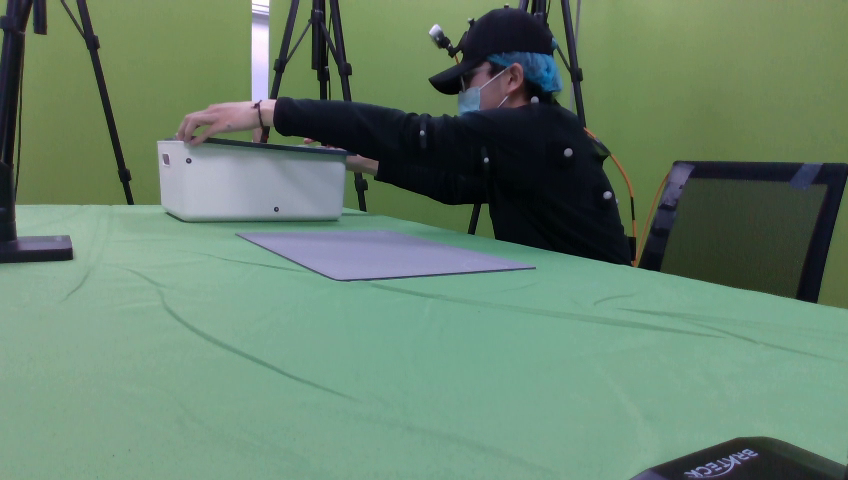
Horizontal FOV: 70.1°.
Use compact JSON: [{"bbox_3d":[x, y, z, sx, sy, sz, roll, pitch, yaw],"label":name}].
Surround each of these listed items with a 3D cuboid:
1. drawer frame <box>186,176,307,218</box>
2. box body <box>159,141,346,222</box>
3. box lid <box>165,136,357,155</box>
[{"bbox_3d":[-0.398,-0.099,1.347,0.203,0.082,0.212,-4,8,-37],"label":"drawer frame"},{"bbox_3d":[-0.384,-0.133,1.359,0.366,0.160,0.253,-2,9,-33],"label":"box body"},{"bbox_3d":[-0.360,-0.209,1.348,0.373,0.015,0.262,-2,10,-33],"label":"box lid"}]
